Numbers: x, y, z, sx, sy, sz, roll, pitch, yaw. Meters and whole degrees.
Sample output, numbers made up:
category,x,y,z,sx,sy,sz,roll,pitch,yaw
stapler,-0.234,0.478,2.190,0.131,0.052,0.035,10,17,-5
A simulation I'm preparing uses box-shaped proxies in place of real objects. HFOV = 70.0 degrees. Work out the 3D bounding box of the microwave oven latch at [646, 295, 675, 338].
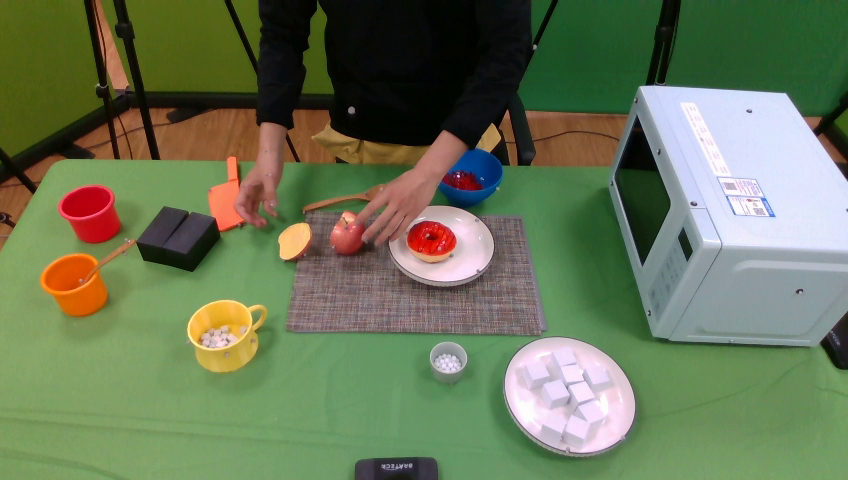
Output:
category,x,y,z,sx,sy,sz,roll,pitch,yaw
microwave oven latch,0.412,0.134,1.061,0.030,0.029,0.078,3,45,1

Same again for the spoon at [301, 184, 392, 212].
category,x,y,z,sx,sy,sz,roll,pitch,yaw
spoon,-0.162,-0.087,1.270,0.194,0.022,0.041,-11,65,-15

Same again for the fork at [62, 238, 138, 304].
category,x,y,z,sx,sy,sz,roll,pitch,yaw
fork,-0.547,0.053,1.018,0.207,0.019,0.028,-36,41,23

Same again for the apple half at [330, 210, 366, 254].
category,x,y,z,sx,sy,sz,roll,pitch,yaw
apple half,-0.139,-0.009,1.157,0.053,0.075,0.080,17,44,8

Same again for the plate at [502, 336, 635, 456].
category,x,y,z,sx,sy,sz,roll,pitch,yaw
plate,0.225,0.248,0.964,0.208,0.039,0.206,2,46,-2

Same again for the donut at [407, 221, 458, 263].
category,x,y,z,sx,sy,sz,roll,pitch,yaw
donut,0.016,0.002,1.166,0.099,0.048,0.098,3,43,-2

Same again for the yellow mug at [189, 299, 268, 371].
category,x,y,z,sx,sy,sz,roll,pitch,yaw
yellow mug,-0.316,0.148,1.002,0.131,0.064,0.099,-33,56,-31

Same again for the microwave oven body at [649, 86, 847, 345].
category,x,y,z,sx,sy,sz,roll,pitch,yaw
microwave oven body,0.568,-0.053,1.118,0.326,0.261,0.439,2,45,-1

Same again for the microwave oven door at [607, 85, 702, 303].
category,x,y,z,sx,sy,sz,roll,pitch,yaw
microwave oven door,0.423,-0.094,1.141,0.039,0.245,0.353,2,46,-1

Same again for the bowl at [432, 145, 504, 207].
category,x,y,z,sx,sy,sz,roll,pitch,yaw
bowl,0.091,-0.124,1.287,0.151,0.077,0.150,2,46,-2

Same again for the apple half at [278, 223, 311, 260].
category,x,y,z,sx,sy,sz,roll,pitch,yaw
apple half,-0.241,0.007,1.157,0.081,0.033,0.081,-17,54,24

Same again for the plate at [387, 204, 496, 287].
category,x,y,z,sx,sy,sz,roll,pitch,yaw
plate,0.033,0.014,1.171,0.209,0.038,0.208,2,46,-2

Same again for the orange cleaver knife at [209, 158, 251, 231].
category,x,y,z,sx,sy,sz,roll,pitch,yaw
orange cleaver knife,-0.409,-0.098,1.266,0.077,0.012,0.210,-13,49,-10

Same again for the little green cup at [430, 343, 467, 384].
category,x,y,z,sx,sy,sz,roll,pitch,yaw
little green cup,0.039,0.203,0.994,0.061,0.039,0.061,2,46,-2
